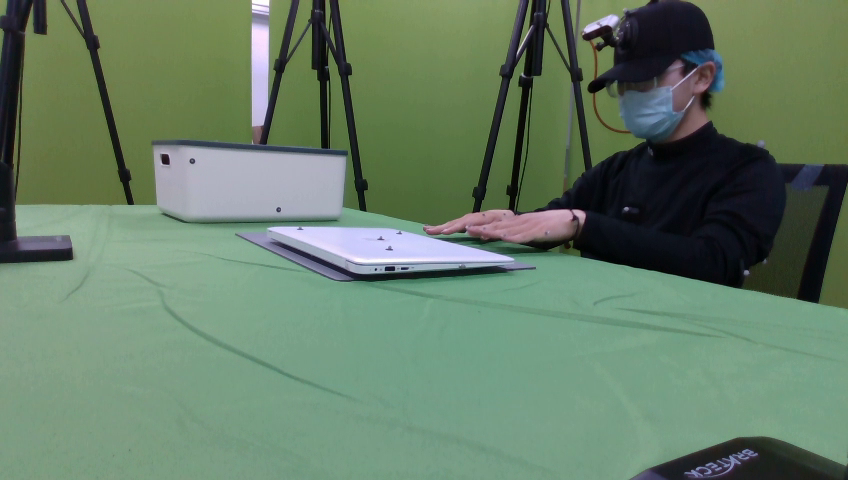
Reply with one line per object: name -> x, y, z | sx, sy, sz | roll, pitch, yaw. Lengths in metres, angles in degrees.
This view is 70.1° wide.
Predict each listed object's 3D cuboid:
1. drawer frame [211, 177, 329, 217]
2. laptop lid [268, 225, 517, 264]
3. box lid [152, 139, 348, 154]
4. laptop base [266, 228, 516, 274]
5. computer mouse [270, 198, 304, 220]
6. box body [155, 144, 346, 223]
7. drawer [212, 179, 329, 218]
drawer frame -> -0.349, -0.100, 1.365 | 0.215, 0.082, 0.200 | -4, 9, -32
laptop lid -> -0.063, 0.002, 0.877 | 0.243, 0.013, 0.355 | 1, 7, -30
box lid -> -0.379, -0.205, 1.338 | 0.373, 0.015, 0.262 | -3, 10, -36
laptop base -> -0.066, 0.014, 0.877 | 0.237, 0.023, 0.352 | 2, 6, -32
computer mouse -> -0.319, -0.073, 1.402 | 0.063, 0.041, 0.116 | 4, 13, -24
box body -> -0.384, -0.131, 1.346 | 0.366, 0.160, 0.253 | -3, 9, -36
drawer -> -0.348, -0.097, 1.365 | 0.213, 0.073, 0.193 | 0, 10, -32
